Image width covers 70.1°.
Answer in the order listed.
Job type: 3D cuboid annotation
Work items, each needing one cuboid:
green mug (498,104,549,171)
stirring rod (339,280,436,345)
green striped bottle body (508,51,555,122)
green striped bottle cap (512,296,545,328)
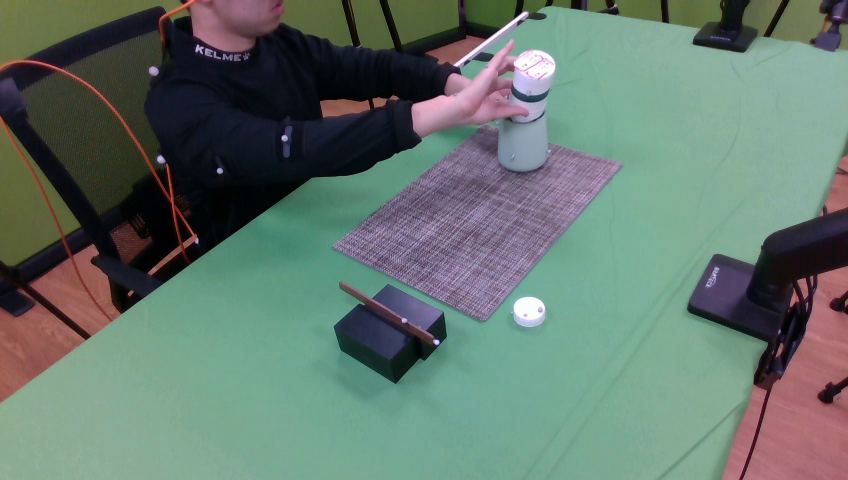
[{"bbox_3d":[0.182,-0.197,1.101,0.092,0.105,0.125,3,41,12],"label":"green mug"},{"bbox_3d":[-0.052,0.093,0.795,0.174,0.014,0.006,27,47,33],"label":"stirring rod"},{"bbox_3d":[0.173,-0.244,0.991,0.063,0.119,0.063,1,60,-1],"label":"green striped bottle body"},{"bbox_3d":[0.144,0.099,0.837,0.044,0.020,0.044,-2,44,2],"label":"green striped bottle cap"}]
